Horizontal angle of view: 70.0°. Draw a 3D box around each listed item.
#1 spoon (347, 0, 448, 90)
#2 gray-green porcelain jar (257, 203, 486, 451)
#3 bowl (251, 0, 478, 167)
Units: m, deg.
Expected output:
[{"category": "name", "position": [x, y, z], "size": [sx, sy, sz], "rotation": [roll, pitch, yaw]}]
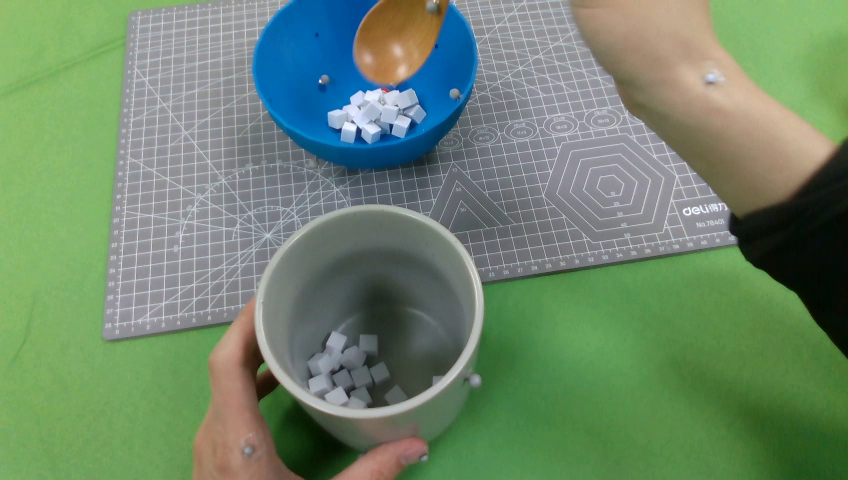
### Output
[{"category": "spoon", "position": [0.028, -0.143, 0.290], "size": [0.042, 0.194, 0.021], "rotation": [47, 35, -7]}, {"category": "gray-green porcelain jar", "position": [-0.022, 0.056, 0.332], "size": [0.106, 0.127, 0.105], "rotation": [0, 63, 1]}, {"category": "bowl", "position": [-0.038, -0.106, 0.435], "size": [0.151, 0.077, 0.150], "rotation": [0, 64, 1]}]
